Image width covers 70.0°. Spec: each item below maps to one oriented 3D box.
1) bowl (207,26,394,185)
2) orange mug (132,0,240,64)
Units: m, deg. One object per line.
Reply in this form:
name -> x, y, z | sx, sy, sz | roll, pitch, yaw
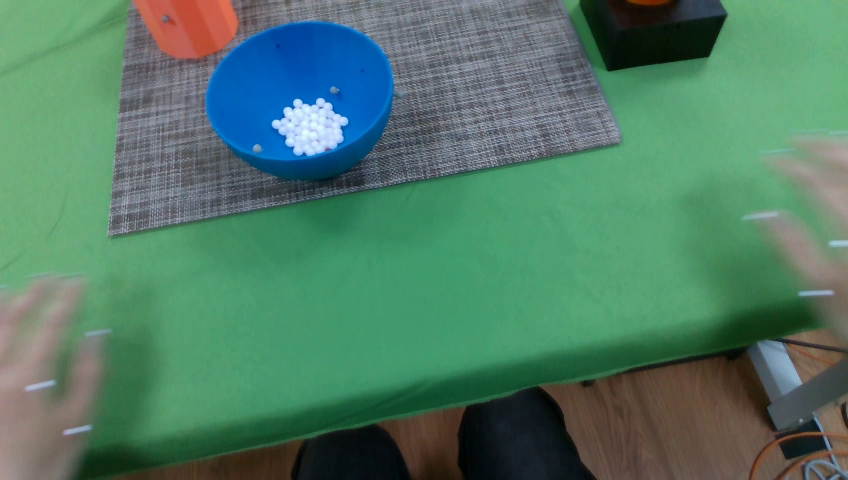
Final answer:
bowl -> -0.096, -0.100, 0.515 | 0.151, 0.077, 0.150 | -1, 59, 2
orange mug -> -0.238, -0.255, 0.601 | 0.083, 0.101, 0.125 | 0, 64, 4
